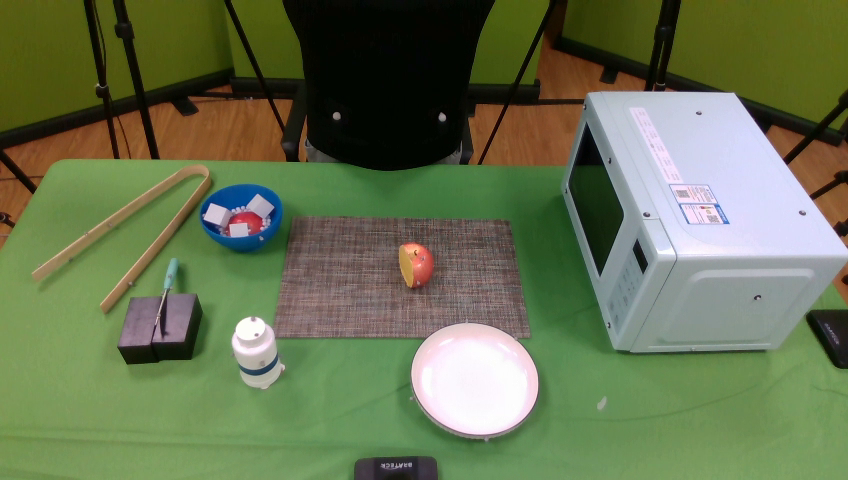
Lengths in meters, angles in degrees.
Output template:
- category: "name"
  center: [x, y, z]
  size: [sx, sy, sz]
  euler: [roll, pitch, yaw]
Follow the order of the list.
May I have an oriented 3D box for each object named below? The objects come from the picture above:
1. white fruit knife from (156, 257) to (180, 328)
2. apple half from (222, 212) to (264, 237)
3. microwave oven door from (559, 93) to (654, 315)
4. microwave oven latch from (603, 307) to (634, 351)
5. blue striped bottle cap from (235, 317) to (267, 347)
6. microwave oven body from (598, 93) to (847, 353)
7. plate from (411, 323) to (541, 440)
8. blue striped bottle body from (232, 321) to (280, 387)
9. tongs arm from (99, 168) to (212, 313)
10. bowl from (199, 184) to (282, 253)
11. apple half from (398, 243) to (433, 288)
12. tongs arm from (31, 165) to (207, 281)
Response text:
- category: "white fruit knife"
  center: [-0.440, 0.085, 1.037]
  size: [0.016, 0.027, 0.206]
  euler: [9, 26, -19]
- category: "apple half"
  center: [-0.346, -0.033, 1.162]
  size: [0.081, 0.033, 0.081]
  euler: [4, 46, -3]
- category: "microwave oven door"
  center: [0.328, -0.074, 1.123]
  size: [0.039, 0.245, 0.353]
  euler: [-1, 46, -5]
- category: "microwave oven latch"
  center: [0.333, 0.153, 1.044]
  size: [0.030, 0.029, 0.078]
  euler: [-1, 45, -4]
- category: "blue striped bottle cap"
  center: [-0.260, 0.137, 0.907]
  size: [0.044, 0.021, 0.044]
  euler: [3, 43, -2]
- category: "microwave oven body"
  center: [0.476, -0.041, 1.109]
  size: [0.326, 0.261, 0.438]
  euler: [-1, 45, -4]
- category: "plate"
  center: [0.082, 0.228, 0.976]
  size: [0.208, 0.039, 0.206]
  euler: [2, 45, -2]
- category: "blue striped bottle body"
  center: [-0.262, 0.171, 0.944]
  size: [0.063, 0.121, 0.062]
  euler: [2, 46, -2]
- category: "tongs arm"
  center: [-0.503, -0.012, 1.167]
  size: [0.028, 0.028, 0.385]
  euler: [11, 46, 11]
- category: "bowl"
  center: [-0.346, -0.030, 1.164]
  size: [0.151, 0.077, 0.150]
  euler: [3, 46, -3]
- category: "apple half"
  center: [-0.012, 0.046, 1.115]
  size: [0.053, 0.075, 0.080]
  euler: [-11, 44, -20]
- category: "tongs arm"
  center: [-0.578, -0.040, 1.184]
  size: [0.050, 0.026, 0.384]
  euler: [23, 48, 17]
